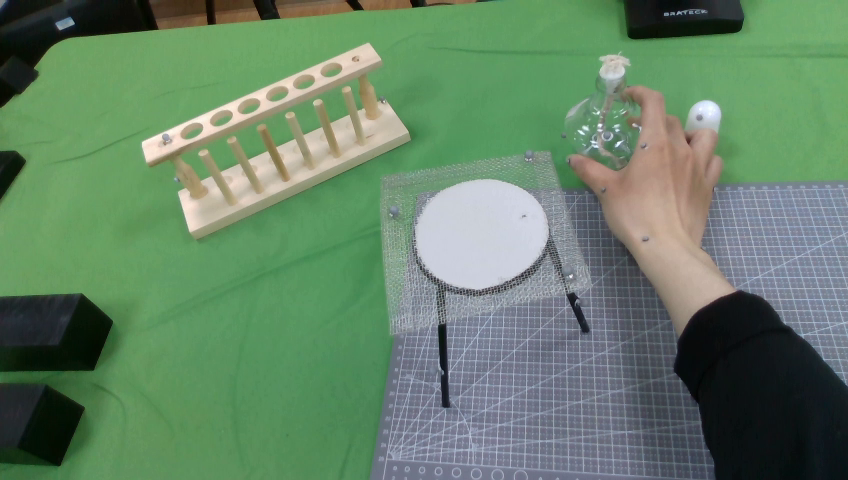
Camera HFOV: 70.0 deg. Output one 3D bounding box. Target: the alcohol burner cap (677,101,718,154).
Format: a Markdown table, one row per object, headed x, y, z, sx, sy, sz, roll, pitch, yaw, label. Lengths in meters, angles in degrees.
| x | y | z | sx | sy | sz | roll | pitch | yaw | label |
| --- | --- | --- | --- | --- | --- | --- | --- | --- | --- |
| 0.256 | -0.106 | 0.561 | 0.034 | 0.048 | 0.033 | -6 | 54 | 9 | alcohol burner cap |

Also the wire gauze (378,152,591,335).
| x | y | z | sx | sy | sz | roll | pitch | yaw | label |
| --- | --- | --- | --- | --- | --- | --- | --- | --- | --- |
| 0.032 | -0.005 | 0.386 | 0.121 | 0.011 | 0.124 | -10 | 54 | 5 | wire gauze |

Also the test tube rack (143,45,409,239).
| x | y | z | sx | sy | sz | roll | pitch | yaw | label |
| --- | --- | --- | --- | --- | --- | --- | --- | --- | --- |
| -0.144 | -0.100 | 0.614 | 0.242 | 0.086 | 0.066 | -26 | 53 | -8 | test tube rack |

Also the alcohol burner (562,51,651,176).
| x | y | z | sx | sy | sz | roll | pitch | yaw | label |
| --- | --- | --- | --- | --- | --- | --- | --- | --- | --- |
| 0.163 | -0.115 | 0.539 | 0.078 | 0.120 | 0.077 | -6 | 51 | 8 | alcohol burner |

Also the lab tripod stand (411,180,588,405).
| x | y | z | sx | sy | sz | roll | pitch | yaw | label |
| --- | --- | --- | --- | --- | --- | --- | --- | --- | --- |
| 0.046 | 0.036 | 0.437 | 0.148 | 0.133 | 0.147 | -5 | 55 | 8 | lab tripod stand |
